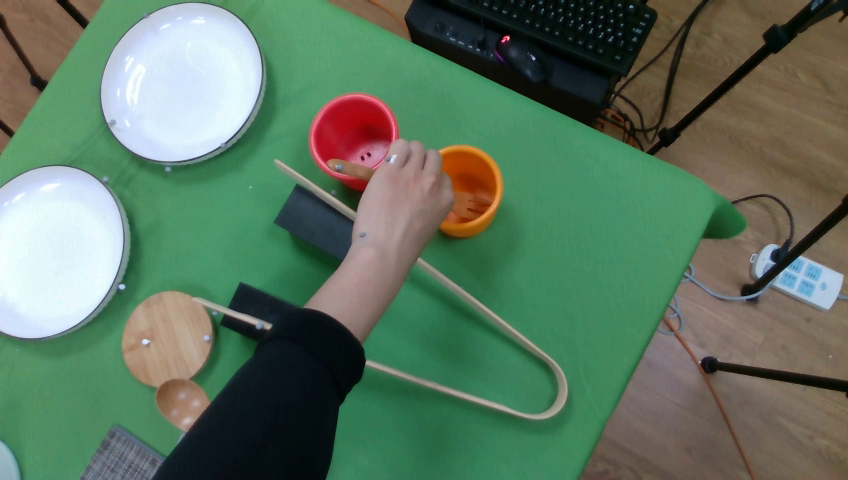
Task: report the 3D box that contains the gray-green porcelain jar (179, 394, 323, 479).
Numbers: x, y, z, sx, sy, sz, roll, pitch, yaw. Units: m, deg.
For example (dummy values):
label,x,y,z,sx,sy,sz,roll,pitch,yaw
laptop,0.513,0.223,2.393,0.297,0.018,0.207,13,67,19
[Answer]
label,x,y,z,sx,sy,sz,roll,pitch,yaw
gray-green porcelain jar,-0.164,0.210,0.607,0.106,0.127,0.105,-1,78,7

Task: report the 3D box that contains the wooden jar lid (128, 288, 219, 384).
label,x,y,z,sx,sy,sz,roll,pitch,yaw
wooden jar lid,-0.285,0.110,0.696,0.108,0.021,0.108,-1,80,6

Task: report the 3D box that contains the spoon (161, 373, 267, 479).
label,x,y,z,sx,sy,sz,roll,pitch,yaw
spoon,-0.163,0.194,0.537,0.041,0.022,0.193,-43,81,-6

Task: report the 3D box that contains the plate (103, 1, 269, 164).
label,x,y,z,sx,sy,sz,roll,pitch,yaw
plate,-0.287,-0.190,0.743,0.209,0.038,0.208,-1,79,7

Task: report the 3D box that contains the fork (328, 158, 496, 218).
label,x,y,z,sx,sy,sz,roll,pitch,yaw
fork,-0.005,-0.053,0.620,0.018,0.209,0.028,5,84,52

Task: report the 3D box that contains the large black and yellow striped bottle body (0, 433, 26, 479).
label,x,y,z,sx,sy,sz,roll,pitch,yaw
large black and yellow striped bottle body,-0.527,0.264,0.612,0.130,0.185,0.130,-1,78,7

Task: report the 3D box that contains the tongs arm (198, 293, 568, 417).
label,x,y,z,sx,sy,sz,roll,pitch,yaw
tongs arm,-0.040,0.109,0.620,0.385,0.026,0.050,22,79,-1

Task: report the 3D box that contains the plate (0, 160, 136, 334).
label,x,y,z,sx,sy,sz,roll,pitch,yaw
plate,-0.439,0.009,0.725,0.207,0.039,0.206,-1,79,7

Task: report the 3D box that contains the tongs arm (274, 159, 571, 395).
label,x,y,z,sx,sy,sz,roll,pitch,yaw
tongs arm,-0.001,0.034,0.633,0.387,0.028,0.028,37,76,1
